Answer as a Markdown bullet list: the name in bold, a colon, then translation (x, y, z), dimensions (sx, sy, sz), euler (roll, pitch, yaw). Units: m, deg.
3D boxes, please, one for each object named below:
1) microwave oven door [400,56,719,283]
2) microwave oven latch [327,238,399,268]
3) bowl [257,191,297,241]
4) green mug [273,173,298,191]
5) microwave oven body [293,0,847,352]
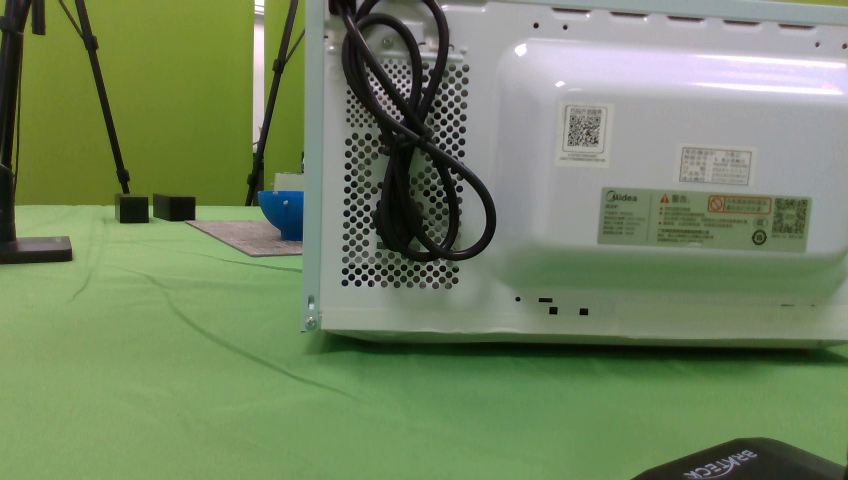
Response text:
- **microwave oven door**: translation (0.155, -0.078, 0.698), dimensions (0.356, 0.243, 0.039), euler (2, 8, -5)
- **microwave oven latch**: translation (-0.069, 0.015, 0.694), dimensions (0.079, 0.029, 0.030), euler (3, 7, -3)
- **bowl**: translation (-0.206, -0.041, 1.027), dimensions (0.151, 0.077, 0.151), euler (3, 8, 0)
- **green mug**: translation (-0.264, -0.084, 1.236), dimensions (0.093, 0.105, 0.125), euler (0, 8, -13)
- **microwave oven body**: translation (0.122, -0.055, 0.550), dimensions (0.442, 0.260, 0.325), euler (3, 7, -5)
